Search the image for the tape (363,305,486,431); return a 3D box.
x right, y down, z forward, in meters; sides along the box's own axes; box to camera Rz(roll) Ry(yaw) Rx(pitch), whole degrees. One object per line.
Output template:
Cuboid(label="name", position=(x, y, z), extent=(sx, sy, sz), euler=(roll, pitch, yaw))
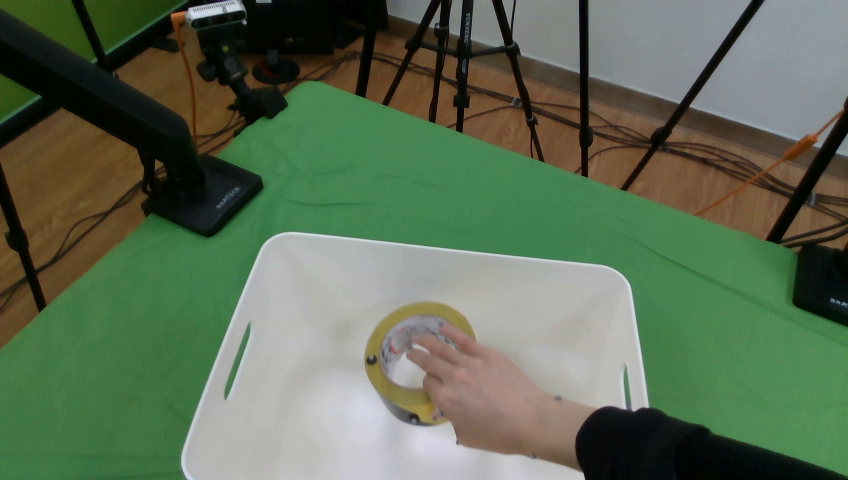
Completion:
Cuboid(label="tape", position=(0.000, 0.124, 0.598), extent=(0.117, 0.053, 0.115), euler=(-7, 50, 8))

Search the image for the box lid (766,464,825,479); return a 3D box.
Cuboid(label="box lid", position=(0.394, 0.396, 0.494), extent=(0.263, 0.015, 0.368), euler=(-29, 57, -25))

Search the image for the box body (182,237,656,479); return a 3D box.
Cuboid(label="box body", position=(0.005, 0.156, 0.579), extent=(0.364, 0.162, 0.252), euler=(6, 49, 2))
